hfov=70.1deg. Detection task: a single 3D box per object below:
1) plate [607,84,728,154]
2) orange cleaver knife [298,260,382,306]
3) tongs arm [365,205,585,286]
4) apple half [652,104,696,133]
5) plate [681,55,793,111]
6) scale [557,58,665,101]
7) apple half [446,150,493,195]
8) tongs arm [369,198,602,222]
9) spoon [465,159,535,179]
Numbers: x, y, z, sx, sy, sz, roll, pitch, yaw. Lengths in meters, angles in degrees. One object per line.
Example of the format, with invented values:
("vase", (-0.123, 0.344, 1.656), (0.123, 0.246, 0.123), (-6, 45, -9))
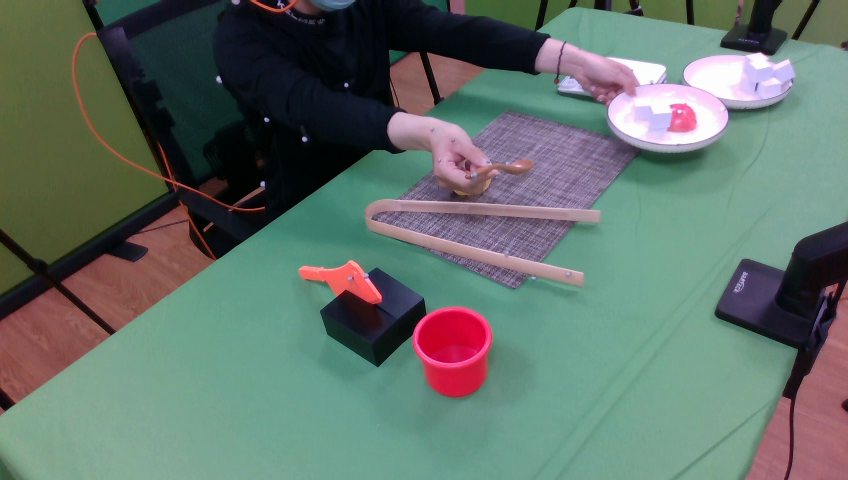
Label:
("plate", (0.438, -0.217, 1.099), (0.209, 0.038, 0.208), (-4, 43, 4))
("orange cleaver knife", (-0.125, 0.063, 0.876), (0.012, 0.077, 0.210), (-38, 19, -30))
("tongs arm", (0.067, 0.004, 0.951), (0.382, 0.026, 0.051), (13, 46, 23))
("apple half", (0.457, -0.229, 1.101), (0.081, 0.033, 0.081), (-2, 43, 3))
("plate", (0.636, -0.317, 1.239), (0.207, 0.039, 0.206), (-4, 40, 4))
("scale", (0.407, -0.348, 1.314), (0.199, 0.032, 0.149), (19, 47, 28))
("apple half", (0.080, -0.124, 1.065), (0.081, 0.075, 0.053), (-7, 36, 7))
("tongs arm", (0.097, -0.048, 1.008), (0.386, 0.028, 0.028), (3, 46, 13))
("spoon", (0.102, -0.098, 0.826), (0.041, 0.021, 0.195), (3, 9, 32))
